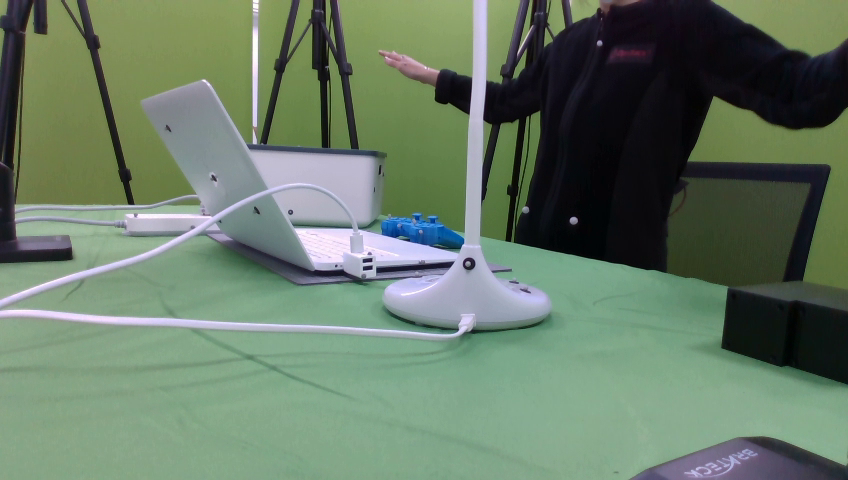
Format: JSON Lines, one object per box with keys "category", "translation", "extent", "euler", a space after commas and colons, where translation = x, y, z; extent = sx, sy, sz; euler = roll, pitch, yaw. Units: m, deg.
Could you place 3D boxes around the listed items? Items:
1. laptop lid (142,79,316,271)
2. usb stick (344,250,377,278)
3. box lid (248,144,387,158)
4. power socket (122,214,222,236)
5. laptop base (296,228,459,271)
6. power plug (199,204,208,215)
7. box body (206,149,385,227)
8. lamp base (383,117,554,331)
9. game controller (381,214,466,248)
{"category": "laptop lid", "translation": [-0.265, -0.082, 0.775], "extent": [0.013, 0.242, 0.355], "euler": [-37, 28, -25]}
{"category": "usb stick", "translation": [-0.076, 0.026, 0.687], "extent": [0.021, 0.027, 0.059], "euler": [-9, 8, -31]}
{"category": "box lid", "translation": [-0.275, -0.197, 1.326], "extent": [0.372, 0.015, 0.263], "euler": [4, 8, 1]}
{"category": "power socket", "translation": [-0.398, -0.028, 1.049], "extent": [0.228, 0.032, 0.072], "euler": [-3, 8, -34]}
{"category": "laptop base", "translation": [-0.122, 0.011, 0.889], "extent": [0.237, 0.023, 0.352], "euler": [2, 6, -35]}
{"category": "power plug", "translation": [-0.387, -0.055, 1.089], "extent": [0.035, 0.052, 0.072], "euler": [-1, 7, -22]}
{"category": "box body", "translation": [-0.276, -0.124, 1.334], "extent": [0.364, 0.160, 0.254], "euler": [3, 7, 1]}
{"category": "lamp base", "translation": [0.045, -0.019, 0.547], "extent": [0.161, 0.180, 0.179], "euler": [2, 10, -4]}
{"category": "game controller", "translation": [-0.006, -0.017, 1.039], "extent": [0.097, 0.051, 0.154], "euler": [-5, 10, -33]}
